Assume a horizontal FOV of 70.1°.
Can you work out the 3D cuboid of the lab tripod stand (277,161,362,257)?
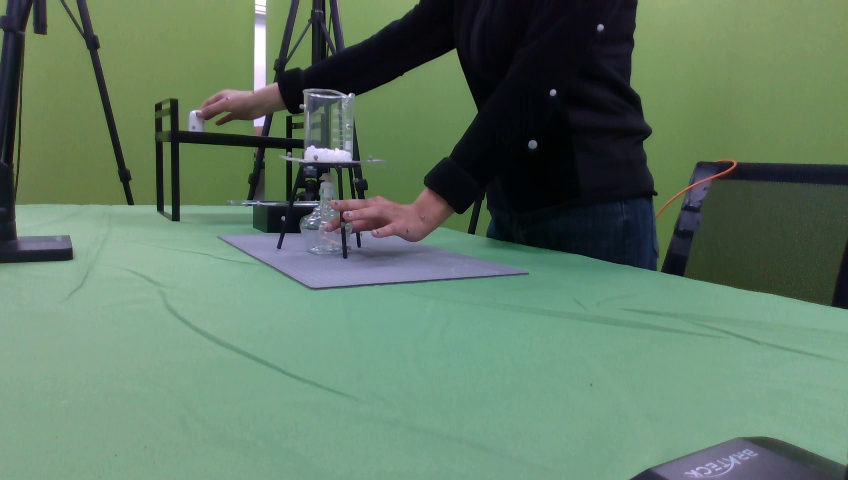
[{"bbox_3d":[-0.143,-0.049,0.884,0.148,0.131,0.148,1,9,0],"label":"lab tripod stand"}]

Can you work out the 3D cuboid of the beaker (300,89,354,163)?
[{"bbox_3d":[-0.137,-0.161,0.868,0.083,0.100,0.074,9,10,42],"label":"beaker"}]

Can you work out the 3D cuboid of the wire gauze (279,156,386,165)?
[{"bbox_3d":[-0.134,-0.113,0.875,0.122,0.011,0.124,-1,6,-30],"label":"wire gauze"}]

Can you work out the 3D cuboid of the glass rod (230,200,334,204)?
[{"bbox_3d":[-0.265,-0.071,1.144,0.201,0.008,0.008,-1,8,-31],"label":"glass rod"}]

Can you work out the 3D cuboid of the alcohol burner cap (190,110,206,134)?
[{"bbox_3d":[-0.469,-0.244,1.251,0.034,0.048,0.034,0,8,0],"label":"alcohol burner cap"}]

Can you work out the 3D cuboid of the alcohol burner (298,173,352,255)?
[{"bbox_3d":[-0.143,-0.039,0.881,0.078,0.119,0.078,3,5,0],"label":"alcohol burner"}]
